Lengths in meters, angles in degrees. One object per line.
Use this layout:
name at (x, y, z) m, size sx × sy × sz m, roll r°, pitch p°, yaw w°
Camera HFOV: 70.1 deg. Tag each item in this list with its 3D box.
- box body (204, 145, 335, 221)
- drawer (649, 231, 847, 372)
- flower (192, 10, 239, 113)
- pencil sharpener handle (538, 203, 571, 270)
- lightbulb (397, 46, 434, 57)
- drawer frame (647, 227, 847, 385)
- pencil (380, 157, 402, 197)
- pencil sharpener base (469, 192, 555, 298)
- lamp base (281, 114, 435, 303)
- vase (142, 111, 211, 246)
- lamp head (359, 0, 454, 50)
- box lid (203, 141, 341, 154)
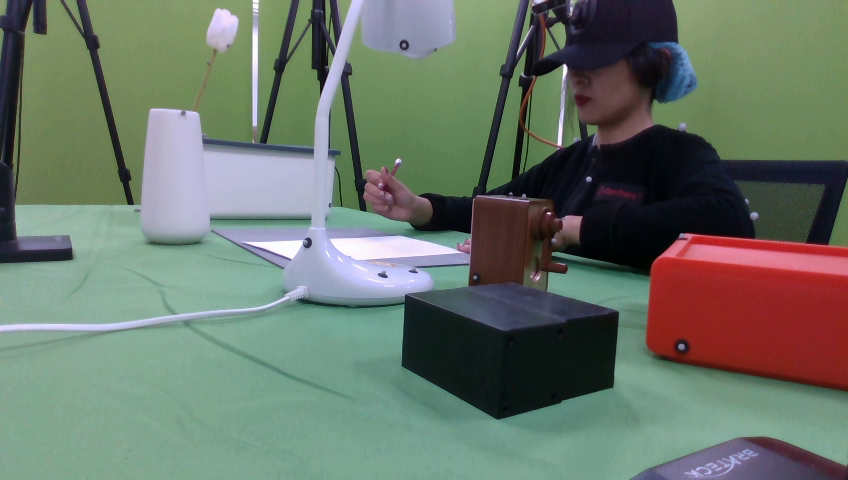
box body at (-0.411, -0.135, 1.386) m, size 0.366 × 0.160 × 0.253 m, roll -2°, pitch 9°, yaw -29°
drawer at (0.302, 0.044, 0.499) m, size 0.194 × 0.073 × 0.212 m, roll 7°, pitch 9°, yaw 27°
flower at (-0.354, -0.174, 0.915) m, size 0.038 × 0.361 × 0.044 m, roll 18°, pitch -3°, yaw 12°
pencil sharpener handle at (0.137, -0.003, 0.619) m, size 0.030 × 0.067 × 0.036 m, roll 8°, pitch 6°, yaw 38°
lightbulb at (-0.017, -0.264, 0.692) m, size 0.059 × 0.108 × 0.059 m, roll -9°, pitch 29°, yaw 5°
drawer frame at (0.303, 0.043, 0.495) m, size 0.201 × 0.082 × 0.214 m, roll 6°, pitch 9°, yaw 26°
pencil at (-0.063, -0.123, 1.159) m, size 0.012 × 0.012 × 0.194 m, roll 3°, pitch 28°, yaw 8°
pencil sharpener base at (0.097, 0.003, 0.652) m, size 0.076 × 0.107 × 0.061 m, roll 8°, pitch 9°, yaw 38°
lamp base at (-0.071, -0.035, 0.614) m, size 0.160 × 0.180 × 0.180 m, roll 6°, pitch 10°, yaw 27°
vase at (-0.378, -0.093, 0.920) m, size 0.098 × 0.200 × 0.098 m, roll 2°, pitch 9°, yaw 0°
lamp head at (-0.024, -0.283, 0.674) m, size 0.112 × 0.123 × 0.112 m, roll -3°, pitch 38°, yaw 3°
box lid at (-0.396, -0.212, 1.373) m, size 0.373 × 0.015 × 0.262 m, roll -1°, pitch 9°, yaw -29°
